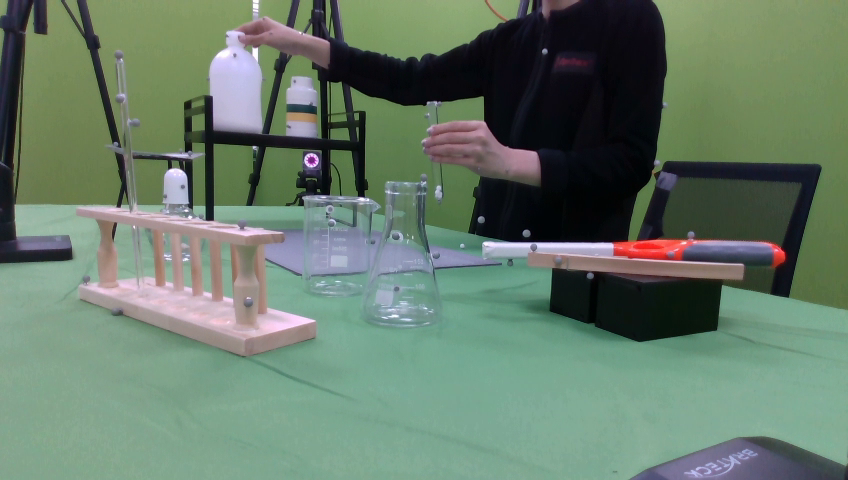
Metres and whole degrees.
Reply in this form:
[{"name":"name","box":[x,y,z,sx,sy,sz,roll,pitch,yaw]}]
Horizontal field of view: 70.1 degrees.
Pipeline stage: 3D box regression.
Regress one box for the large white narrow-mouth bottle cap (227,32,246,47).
[{"name":"large white narrow-mouth bottle cap","box":[-0.365,-0.390,1.180,0.038,0.024,0.037,3,8,0]}]

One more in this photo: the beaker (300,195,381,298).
[{"name":"beaker","box":[-0.087,0.006,0.626,0.084,0.100,0.074,1,8,-17]}]

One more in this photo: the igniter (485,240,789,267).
[{"name":"igniter","box":[0.197,0.012,0.585,0.276,0.025,0.057,1,5,12]}]

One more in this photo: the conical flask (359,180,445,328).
[{"name":"conical flask","box":[-0.017,0.010,0.522,0.075,0.122,0.075,2,7,0]}]

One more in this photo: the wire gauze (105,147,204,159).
[{"name":"wire gauze","box":[-0.408,-0.131,0.929,0.125,0.011,0.121,2,6,-11]}]

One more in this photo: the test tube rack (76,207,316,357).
[{"name":"test tube rack","box":[-0.196,0.023,0.500,0.241,0.085,0.067,8,9,36]}]

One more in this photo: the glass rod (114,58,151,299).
[{"name":"glass rod","box":[-0.236,-0.044,0.492,0.008,0.199,0.008,0,15,0]}]

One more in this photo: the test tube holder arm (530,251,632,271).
[{"name":"test tube holder arm","box":[0.139,0.019,0.538,0.087,0.015,0.010,3,7,13]}]

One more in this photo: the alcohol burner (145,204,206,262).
[{"name":"alcohol burner","box":[-0.321,-0.032,0.788,0.078,0.119,0.078,0,7,0]}]

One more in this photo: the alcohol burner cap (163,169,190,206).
[{"name":"alcohol burner cap","box":[-0.321,-0.068,0.782,0.034,0.048,0.034,1,7,0]}]

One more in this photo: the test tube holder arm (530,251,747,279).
[{"name":"test tube holder arm","box":[0.182,0.022,0.523,0.178,0.015,0.013,3,7,12]}]

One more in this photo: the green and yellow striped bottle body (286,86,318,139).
[{"name":"green and yellow striped bottle body","box":[-0.251,-0.270,1.245,0.063,0.119,0.063,2,7,0]}]

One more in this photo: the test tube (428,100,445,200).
[{"name":"test tube","box":[0.019,-0.135,0.917,0.017,0.150,0.017,-5,12,1]}]

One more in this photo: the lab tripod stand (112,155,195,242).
[{"name":"lab tripod stand","box":[-0.405,-0.064,0.931,0.148,0.131,0.148,1,7,0]}]

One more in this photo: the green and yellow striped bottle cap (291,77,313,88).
[{"name":"green and yellow striped bottle cap","box":[-0.250,-0.321,1.238,0.045,0.020,0.045,3,6,0]}]

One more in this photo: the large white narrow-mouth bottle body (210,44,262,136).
[{"name":"large white narrow-mouth bottle body","box":[-0.370,-0.306,1.194,0.102,0.194,0.102,3,8,0]}]
